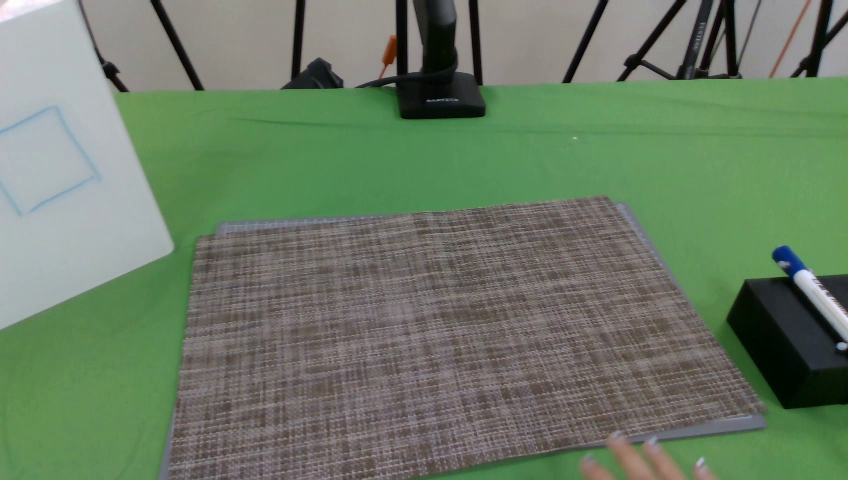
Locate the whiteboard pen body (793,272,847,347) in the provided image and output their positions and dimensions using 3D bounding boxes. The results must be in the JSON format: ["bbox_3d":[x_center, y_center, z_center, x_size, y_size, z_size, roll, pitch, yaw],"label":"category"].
[{"bbox_3d":[0.328,0.062,0.483,0.017,0.017,0.139,-4,40,-7],"label":"whiteboard pen body"}]

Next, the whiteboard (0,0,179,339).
[{"bbox_3d":[-0.395,-0.086,0.527,0.217,0.308,0.142,-30,29,-32],"label":"whiteboard"}]

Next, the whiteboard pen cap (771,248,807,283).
[{"bbox_3d":[0.320,0.023,0.529,0.018,0.018,0.033,-5,39,-8],"label":"whiteboard pen cap"}]
